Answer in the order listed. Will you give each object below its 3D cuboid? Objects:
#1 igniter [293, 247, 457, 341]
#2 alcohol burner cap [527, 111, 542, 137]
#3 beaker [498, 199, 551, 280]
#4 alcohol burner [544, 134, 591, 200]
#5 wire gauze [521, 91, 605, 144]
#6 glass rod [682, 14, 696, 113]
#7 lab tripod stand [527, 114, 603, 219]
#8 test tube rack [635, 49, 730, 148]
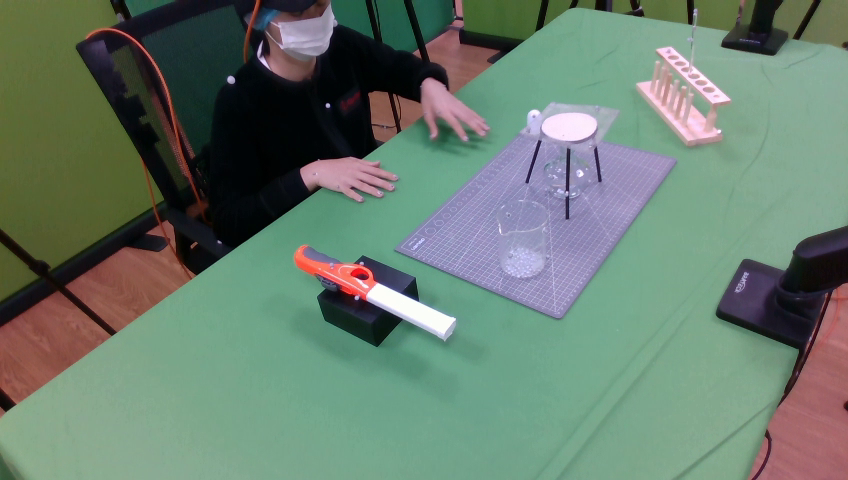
[{"bbox_3d":[-0.078,0.068,0.830,0.274,0.025,0.057,22,48,27],"label":"igniter"},{"bbox_3d":[0.220,-0.233,1.200,0.034,0.048,0.033,-6,41,5],"label":"alcohol burner cap"},{"bbox_3d":[0.144,0.003,0.884,0.073,0.101,0.084,28,52,36],"label":"beaker"},{"bbox_3d":[0.241,-0.127,1.014,0.078,0.119,0.077,-5,42,5],"label":"alcohol burner"},{"bbox_3d":[0.219,-0.191,0.948,0.121,0.011,0.125,8,49,13],"label":"wire gauze"},{"bbox_3d":[0.495,-0.326,1.132,0.008,0.201,0.008,-8,42,8],"label":"glass rod"},{"bbox_3d":[0.234,-0.129,1.002,0.148,0.132,0.147,-6,40,6],"label":"lab tripod stand"},{"bbox_3d":[0.497,-0.283,1.185,0.067,0.085,0.240,-10,40,-2],"label":"test tube rack"}]
